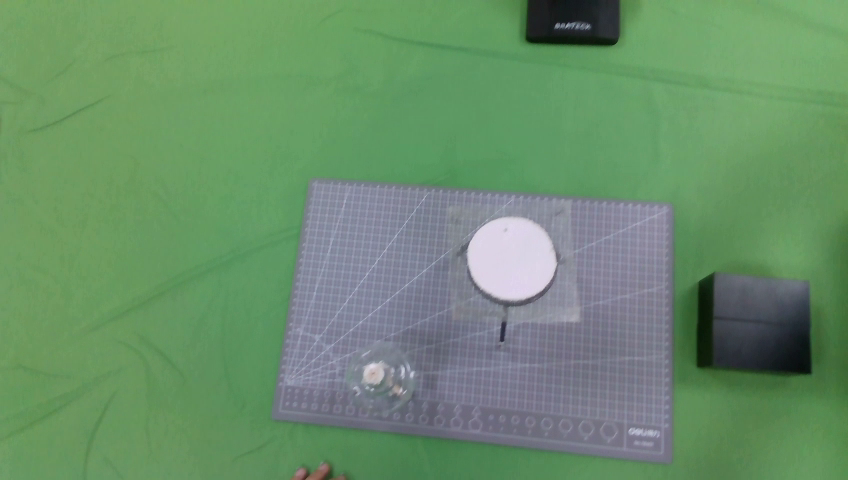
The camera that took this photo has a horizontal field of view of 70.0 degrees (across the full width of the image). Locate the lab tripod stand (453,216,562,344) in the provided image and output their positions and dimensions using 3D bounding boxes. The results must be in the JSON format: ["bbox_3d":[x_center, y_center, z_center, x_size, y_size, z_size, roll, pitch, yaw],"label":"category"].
[{"bbox_3d":[0.092,0.032,0.655,0.148,0.132,0.147,-1,74,4],"label":"lab tripod stand"}]

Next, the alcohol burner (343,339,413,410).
[{"bbox_3d":[-0.051,0.143,0.649,0.078,0.120,0.077,-1,75,3],"label":"alcohol burner"}]

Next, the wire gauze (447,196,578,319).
[{"bbox_3d":[0.084,0.017,0.591,0.125,0.011,0.121,-1,76,3],"label":"wire gauze"}]
